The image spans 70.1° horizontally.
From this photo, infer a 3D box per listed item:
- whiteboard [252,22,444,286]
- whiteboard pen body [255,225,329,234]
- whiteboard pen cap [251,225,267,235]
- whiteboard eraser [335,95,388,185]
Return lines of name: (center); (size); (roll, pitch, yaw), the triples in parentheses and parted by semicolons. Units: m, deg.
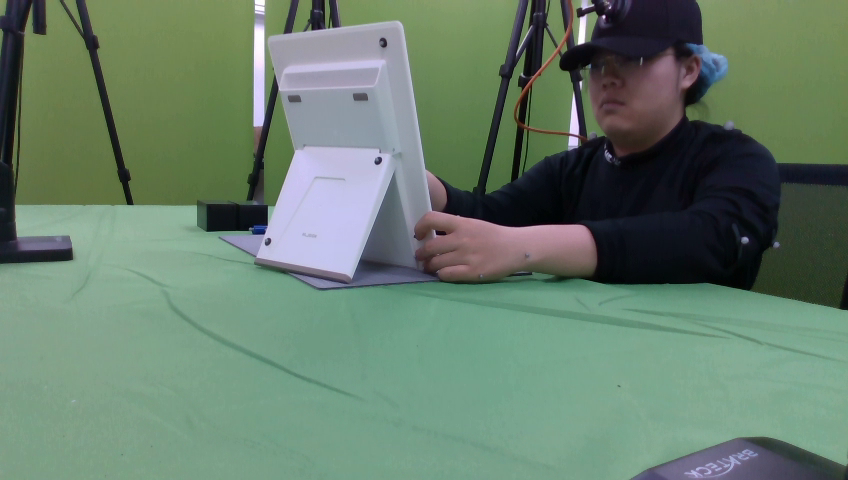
whiteboard: (-0.125, -0.080, 0.715); (0.216, 0.305, 0.144); (9, 29, 36)
whiteboard pen body: (-0.239, -0.019, 1.105); (0.141, 0.017, 0.017); (-2, 9, -34)
whiteboard pen cap: (-0.288, -0.018, 1.072); (0.033, 0.018, 0.018); (-3, 10, -34)
whiteboard eraser: (-0.082, -0.127, 0.774); (0.055, 0.113, 0.042); (14, 34, 35)
